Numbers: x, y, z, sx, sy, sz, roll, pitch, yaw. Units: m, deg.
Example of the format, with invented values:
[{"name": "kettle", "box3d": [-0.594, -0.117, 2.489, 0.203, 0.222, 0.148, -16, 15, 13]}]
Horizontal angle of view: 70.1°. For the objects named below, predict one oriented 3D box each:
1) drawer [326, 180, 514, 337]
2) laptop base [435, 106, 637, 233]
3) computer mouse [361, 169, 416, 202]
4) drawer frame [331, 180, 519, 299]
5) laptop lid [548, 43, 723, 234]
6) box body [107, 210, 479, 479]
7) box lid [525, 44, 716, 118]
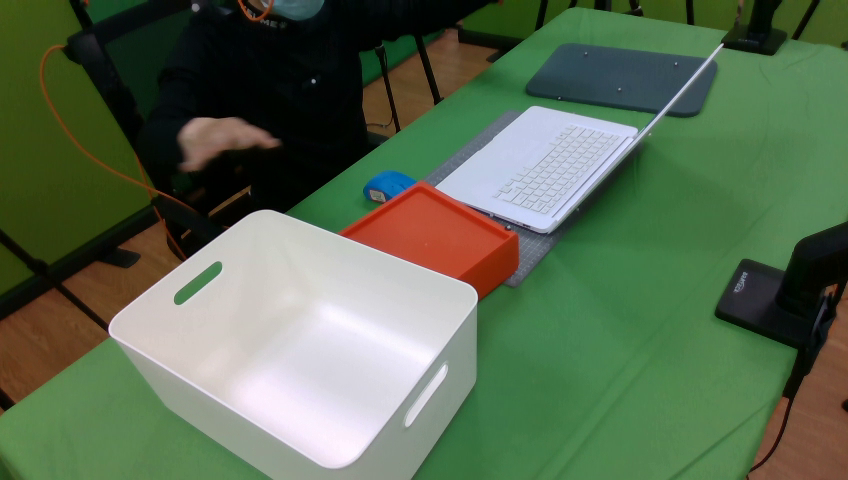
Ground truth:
[{"name": "drawer", "box3d": [-0.004, 0.020, 0.902, 0.195, 0.073, 0.210, -34, 48, -27]}, {"name": "laptop base", "box3d": [0.210, -0.142, 1.111, 0.233, 0.023, 0.355, 21, 48, 33]}, {"name": "computer mouse", "box3d": [-0.054, -0.093, 1.073, 0.116, 0.041, 0.063, 22, 46, 29]}, {"name": "drawer frame", "box3d": [-0.004, 0.020, 0.901, 0.202, 0.083, 0.211, -35, 48, -28]}, {"name": "laptop lid", "box3d": [0.336, -0.160, 0.956, 0.013, 0.241, 0.358, 43, 54, 8]}, {"name": "box body", "box3d": [-0.140, 0.136, 0.725, 0.361, 0.161, 0.254, 19, 47, 28]}, {"name": "box lid", "box3d": [0.432, -0.360, 1.341, 0.369, 0.015, 0.263, 16, 45, 24]}]
